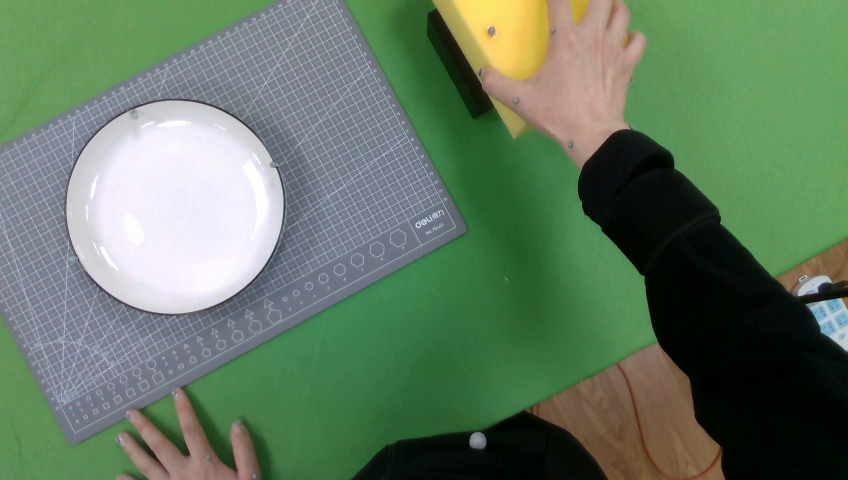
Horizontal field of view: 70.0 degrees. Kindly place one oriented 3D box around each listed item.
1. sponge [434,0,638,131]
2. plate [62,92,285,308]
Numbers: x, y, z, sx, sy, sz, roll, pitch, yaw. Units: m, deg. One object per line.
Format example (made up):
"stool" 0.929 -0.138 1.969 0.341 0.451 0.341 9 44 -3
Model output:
"sponge" 0.083 -0.220 0.549 0.118 0.061 0.206 -31 88 -2
"plate" -0.238 -0.038 0.593 0.209 0.038 0.209 0 88 -2
